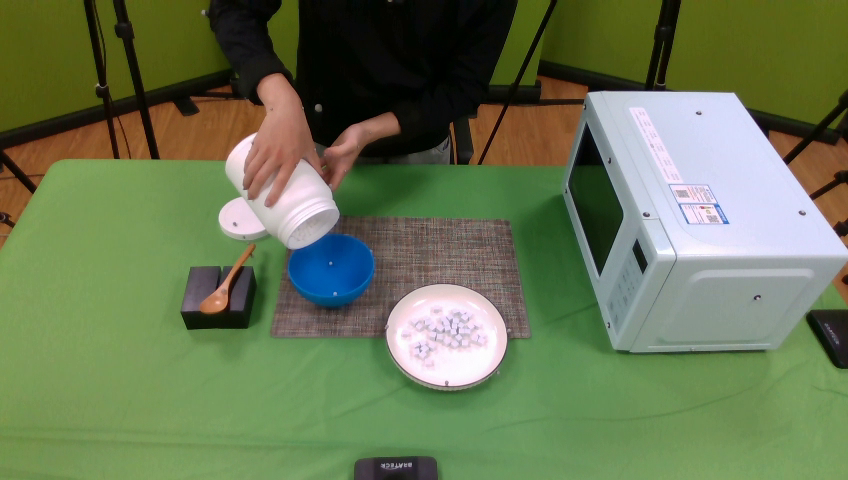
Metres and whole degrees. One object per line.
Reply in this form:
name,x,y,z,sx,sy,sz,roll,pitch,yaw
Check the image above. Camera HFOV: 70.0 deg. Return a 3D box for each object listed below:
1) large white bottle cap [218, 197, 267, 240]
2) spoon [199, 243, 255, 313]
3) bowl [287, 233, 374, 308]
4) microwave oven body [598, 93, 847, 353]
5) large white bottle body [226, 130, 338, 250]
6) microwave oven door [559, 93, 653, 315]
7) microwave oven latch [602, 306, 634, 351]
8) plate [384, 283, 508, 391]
large white bottle cap,-0.355,-0.045,1.220,0.115,0.018,0.114,2,45,-2
spoon,-0.333,0.062,1.051,0.041,0.022,0.193,8,40,7
bowl,-0.164,0.068,1.078,0.151,0.077,0.150,3,46,-2
microwave oven body,0.475,-0.041,1.109,0.326,0.261,0.438,-1,45,-4
large white bottle body,-0.245,-0.085,1.060,0.130,0.131,0.184,-30,73,-29
microwave oven door,0.327,-0.074,1.123,0.039,0.245,0.353,-1,46,-5
microwave oven latch,0.332,0.153,1.044,0.030,0.029,0.078,0,45,-4
plate,0.036,0.165,1.029,0.209,0.038,0.208,2,49,-2
